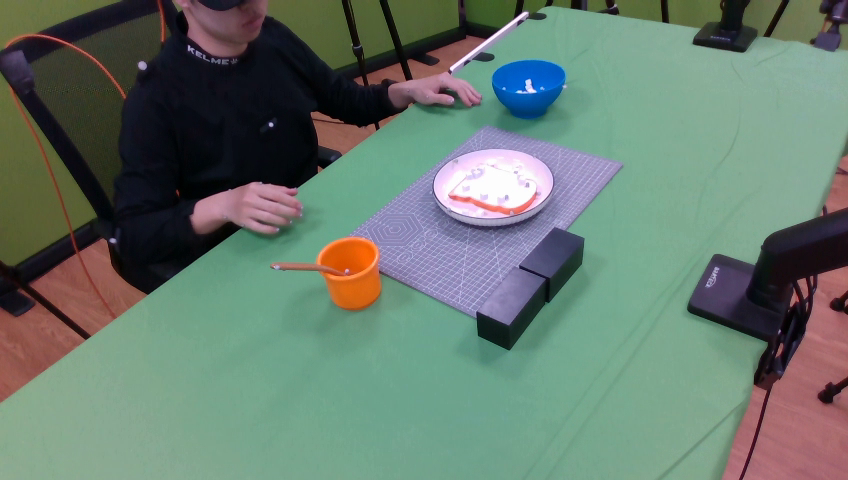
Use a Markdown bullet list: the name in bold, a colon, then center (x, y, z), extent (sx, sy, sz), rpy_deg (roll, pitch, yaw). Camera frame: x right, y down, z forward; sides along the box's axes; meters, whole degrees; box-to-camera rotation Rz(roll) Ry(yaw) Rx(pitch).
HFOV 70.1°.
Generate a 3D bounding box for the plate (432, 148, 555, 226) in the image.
- **plate**: center (0.120, -0.087, 1.037), extent (0.209, 0.038, 0.208), rpy_deg (-4, 40, 4)

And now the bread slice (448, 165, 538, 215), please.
- **bread slice**: center (0.126, -0.085, 1.037), extent (0.133, 0.018, 0.107), rpy_deg (17, 45, 27)

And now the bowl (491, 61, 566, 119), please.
- **bowl**: center (0.215, -0.302, 1.248), extent (0.151, 0.077, 0.150), rpy_deg (-4, 40, 4)

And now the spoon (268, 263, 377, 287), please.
- **spoon**: center (-0.137, 0.045, 0.839), extent (0.041, 0.195, 0.021), rpy_deg (28, 96, 38)
